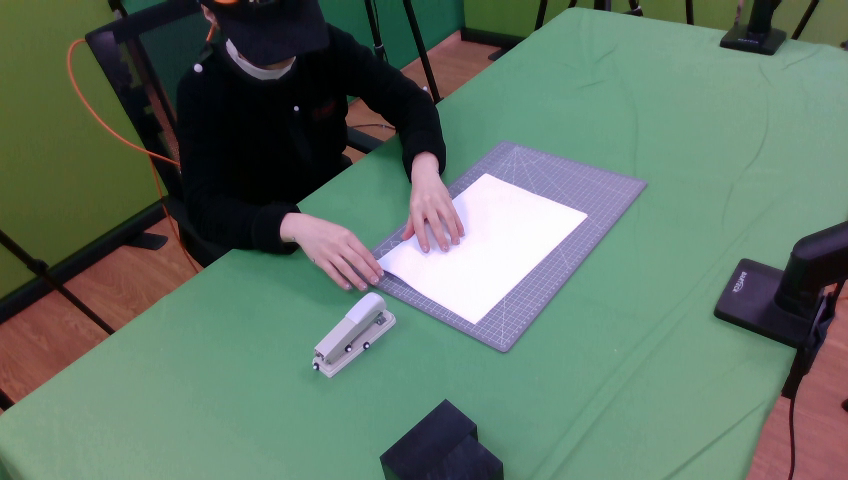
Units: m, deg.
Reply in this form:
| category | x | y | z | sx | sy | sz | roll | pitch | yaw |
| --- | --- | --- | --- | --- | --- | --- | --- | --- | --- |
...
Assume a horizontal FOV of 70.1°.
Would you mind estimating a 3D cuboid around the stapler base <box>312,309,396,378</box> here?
| category | x | y | z | sx | sy | sz | roll | pitch | yaw |
| --- | --- | --- | --- | --- | --- | --- | --- | --- | --- |
| stapler base | -0.096 | 0.133 | 0.831 | 0.041 | 0.024 | 0.131 | 25 | 51 | 36 |

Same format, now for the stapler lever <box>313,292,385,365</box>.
| category | x | y | z | sx | sy | sz | roll | pitch | yaw |
| --- | --- | --- | --- | --- | --- | --- | --- | --- | --- |
| stapler lever | -0.099 | 0.116 | 0.814 | 0.026 | 0.040 | 0.118 | 25 | 51 | 36 |
